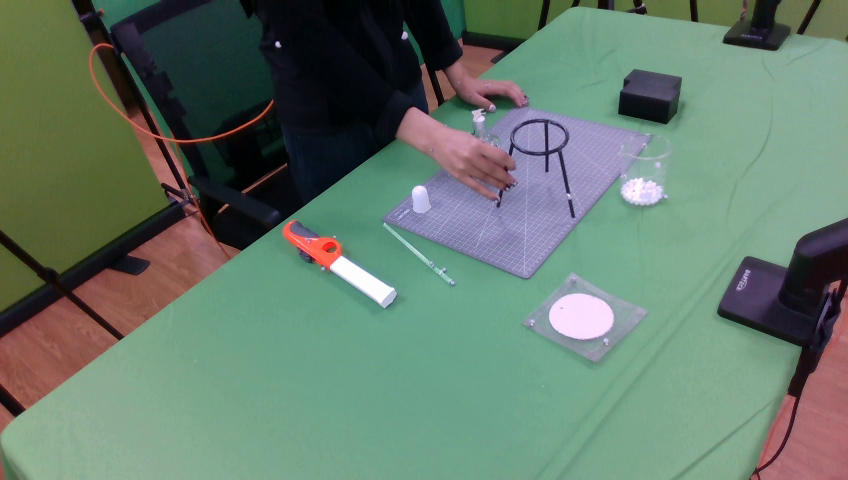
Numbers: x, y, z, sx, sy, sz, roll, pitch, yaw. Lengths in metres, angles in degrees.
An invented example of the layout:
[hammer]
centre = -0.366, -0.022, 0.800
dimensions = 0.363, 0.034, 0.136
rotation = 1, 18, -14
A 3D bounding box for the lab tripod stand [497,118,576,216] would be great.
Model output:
[lab tripod stand]
centre = 0.189, -0.117, 0.972
dimensions = 0.148, 0.132, 0.147
rotation = -3, 46, 4

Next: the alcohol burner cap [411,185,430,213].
[alcohol burner cap]
centre = -0.008, -0.074, 1.050
dimensions = 0.034, 0.048, 0.033
rotation = -5, 40, 4

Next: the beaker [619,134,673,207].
[beaker]
centre = 0.357, -0.111, 0.986
dimensions = 0.084, 0.101, 0.073
rotation = -10, 40, 1

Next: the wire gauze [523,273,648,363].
[wire gauze]
centre = 0.220, 0.105, 0.828
dimensions = 0.125, 0.011, 0.120
rotation = -35, 47, -30

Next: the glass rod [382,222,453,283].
[glass rod]
centre = -0.014, 0.016, 0.976
dimensions = 0.008, 0.008, 0.198
rotation = -30, 44, -22

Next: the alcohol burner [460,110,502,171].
[alcohol burner]
centre = 0.103, -0.186, 1.105
dimensions = 0.078, 0.119, 0.077
rotation = -4, 42, 4

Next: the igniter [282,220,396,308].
[igniter]
centre = -0.146, 0.032, 0.966
dimensions = 0.274, 0.025, 0.057
rotation = 30, 64, 37
